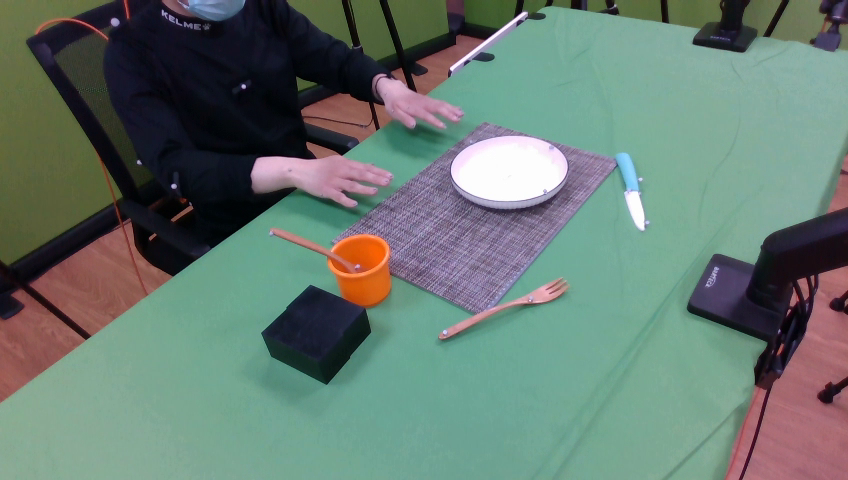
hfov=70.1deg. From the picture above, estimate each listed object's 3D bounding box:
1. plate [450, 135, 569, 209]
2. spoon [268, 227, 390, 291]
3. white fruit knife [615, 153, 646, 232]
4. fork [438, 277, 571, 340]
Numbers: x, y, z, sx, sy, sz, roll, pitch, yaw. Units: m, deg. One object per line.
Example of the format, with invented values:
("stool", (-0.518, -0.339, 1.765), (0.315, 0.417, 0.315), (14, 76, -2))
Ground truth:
("plate", (0.149, -0.117, 1.066), (0.209, 0.038, 0.208), (-3, 41, 4))
("spoon", (-0.132, 0.025, 0.862), (0.021, 0.195, 0.041), (-41, 31, 32))
("white fruit knife", (0.352, -0.084, 1.023), (0.027, 0.016, 0.206), (-19, 40, 23))
("fork", (0.113, 0.096, 0.843), (0.208, 0.019, 0.028), (-19, 47, -16))
